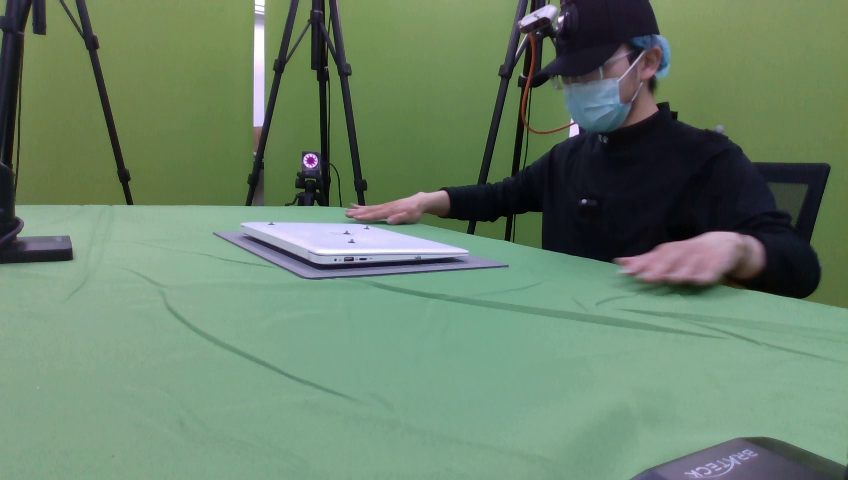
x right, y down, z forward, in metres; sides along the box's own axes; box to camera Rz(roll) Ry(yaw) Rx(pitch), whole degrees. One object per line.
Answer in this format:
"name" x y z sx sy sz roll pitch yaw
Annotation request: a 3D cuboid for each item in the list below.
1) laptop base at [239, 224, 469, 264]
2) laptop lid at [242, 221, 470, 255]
"laptop base" -0.123 0.005 0.936 0.237 0.023 0.352 2 6 -33
"laptop lid" -0.121 -0.007 0.936 0.243 0.013 0.355 1 7 -31
